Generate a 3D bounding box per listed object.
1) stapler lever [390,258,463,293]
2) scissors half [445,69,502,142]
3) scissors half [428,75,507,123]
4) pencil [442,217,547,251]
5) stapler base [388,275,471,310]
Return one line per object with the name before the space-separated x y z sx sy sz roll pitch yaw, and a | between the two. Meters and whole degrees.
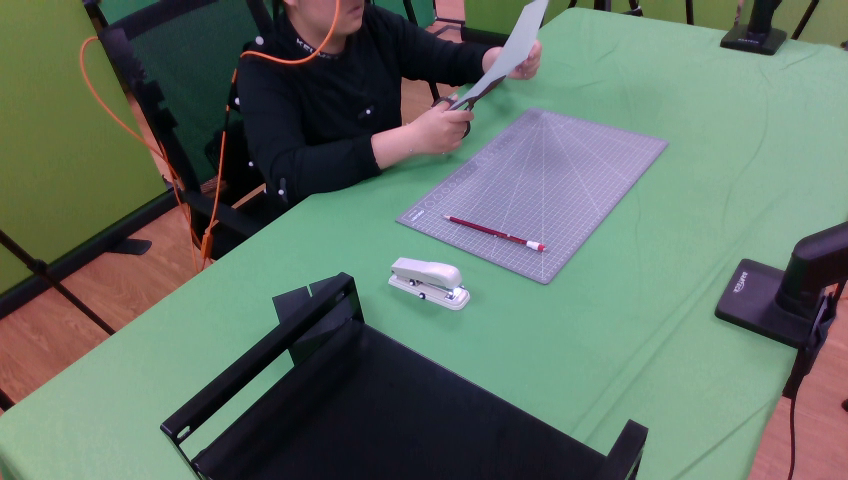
stapler lever | 0.003 0.046 0.881 0.117 0.040 0.027 17 44 29
scissors half | 0.093 -0.247 1.121 0.040 0.175 0.013 34 38 -3
scissors half | 0.078 -0.264 1.117 0.174 0.040 0.013 -19 19 32
pencil | 0.110 -0.012 0.980 0.192 0.012 0.012 18 46 30
stapler base | 0.007 0.066 0.897 0.129 0.024 0.041 17 44 29
